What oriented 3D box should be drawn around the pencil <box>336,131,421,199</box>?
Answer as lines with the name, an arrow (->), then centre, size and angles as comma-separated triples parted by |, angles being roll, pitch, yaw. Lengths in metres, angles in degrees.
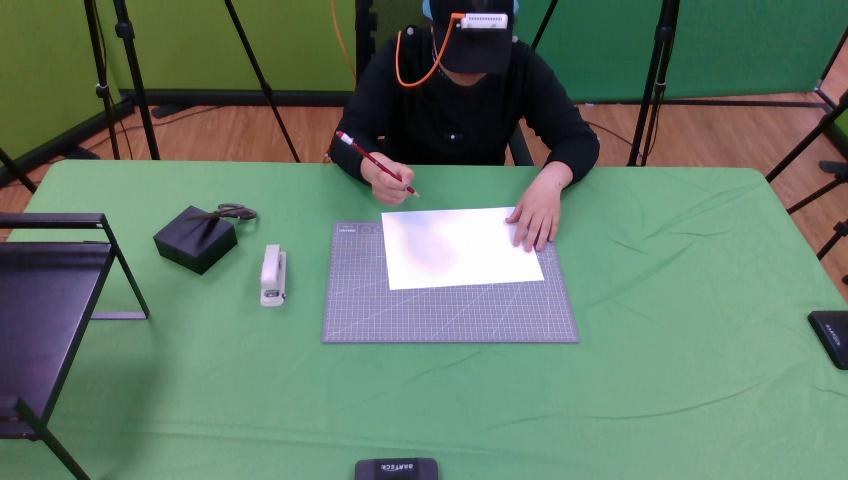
pencil -> -0.079, -0.133, 1.094 | 0.195, 0.012, 0.012 | 38, 44, -18

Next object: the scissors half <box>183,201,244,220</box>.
scissors half -> -0.405, -0.054, 1.163 | 0.040, 0.013, 0.175 | 29, 18, 7

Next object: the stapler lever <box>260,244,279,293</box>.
stapler lever -> -0.279, 0.045, 1.096 | 0.027, 0.040, 0.117 | -2, 44, -9

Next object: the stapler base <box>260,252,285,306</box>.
stapler base -> -0.279, 0.064, 1.113 | 0.041, 0.024, 0.129 | -2, 44, -9

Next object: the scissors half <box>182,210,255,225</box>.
scissors half -> -0.389, -0.042, 1.158 | 0.040, 0.013, 0.175 | 41, 21, 22
